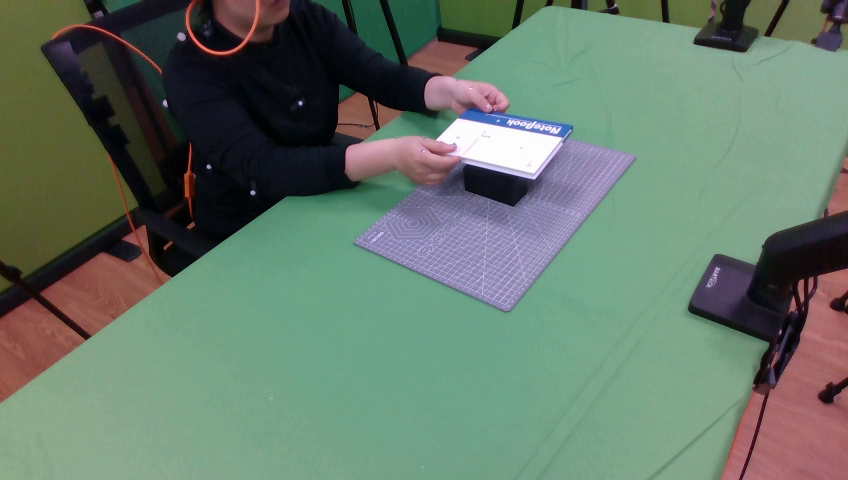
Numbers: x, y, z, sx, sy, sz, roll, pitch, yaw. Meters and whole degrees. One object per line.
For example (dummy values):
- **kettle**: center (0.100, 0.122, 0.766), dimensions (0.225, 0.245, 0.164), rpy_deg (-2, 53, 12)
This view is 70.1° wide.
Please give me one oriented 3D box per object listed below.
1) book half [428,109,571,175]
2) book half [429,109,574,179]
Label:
- **book half**: center (0.129, -0.175, 1.045), dimensions (0.208, 0.007, 0.143), rpy_deg (18, 50, 30)
- **book half**: center (0.132, -0.172, 1.052), dimensions (0.208, 0.016, 0.149), rpy_deg (18, 49, 30)
